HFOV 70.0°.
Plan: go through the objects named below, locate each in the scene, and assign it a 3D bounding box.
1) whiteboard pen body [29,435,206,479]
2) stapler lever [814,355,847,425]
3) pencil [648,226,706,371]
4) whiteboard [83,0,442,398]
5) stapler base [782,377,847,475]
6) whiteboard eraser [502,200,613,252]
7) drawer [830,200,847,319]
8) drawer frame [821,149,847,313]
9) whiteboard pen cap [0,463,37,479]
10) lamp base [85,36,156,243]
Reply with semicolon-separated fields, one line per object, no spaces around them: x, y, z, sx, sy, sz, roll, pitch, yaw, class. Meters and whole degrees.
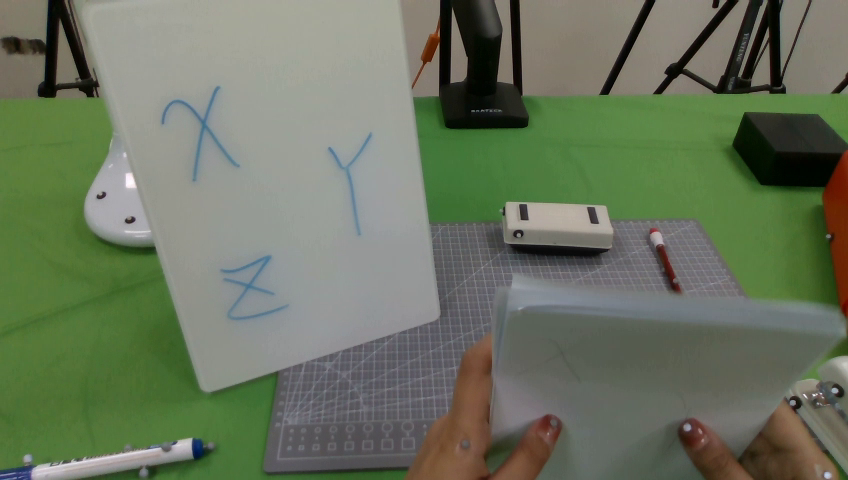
-0.234;0.163;0.444;0.141;0.017;0.017;-8;41;-11;whiteboard pen body
0.339;0.138;0.450;0.027;0.040;0.116;-8;44;-11;stapler lever
0.250;0.050;0.602;0.012;0.012;0.192;2;42;1;pencil
-0.125;-0.058;0.532;0.218;0.307;0.142;-15;23;-18;whiteboard
0.336;0.156;0.468;0.041;0.024;0.129;-8;43;-11;stapler base
0.141;-0.014;0.648;0.113;0.042;0.055;3;41;2;whiteboard eraser
0.507;0.049;0.562;0.194;0.074;0.210;14;41;16;drawer
0.531;0.007;0.611;0.201;0.083;0.212;14;41;15;drawer frame
-0.294;0.170;0.431;0.033;0.018;0.018;-8;41;-10;whiteboard pen cap
-0.304;-0.113;0.643;0.177;0.182;0.160;26;46;30;lamp base
